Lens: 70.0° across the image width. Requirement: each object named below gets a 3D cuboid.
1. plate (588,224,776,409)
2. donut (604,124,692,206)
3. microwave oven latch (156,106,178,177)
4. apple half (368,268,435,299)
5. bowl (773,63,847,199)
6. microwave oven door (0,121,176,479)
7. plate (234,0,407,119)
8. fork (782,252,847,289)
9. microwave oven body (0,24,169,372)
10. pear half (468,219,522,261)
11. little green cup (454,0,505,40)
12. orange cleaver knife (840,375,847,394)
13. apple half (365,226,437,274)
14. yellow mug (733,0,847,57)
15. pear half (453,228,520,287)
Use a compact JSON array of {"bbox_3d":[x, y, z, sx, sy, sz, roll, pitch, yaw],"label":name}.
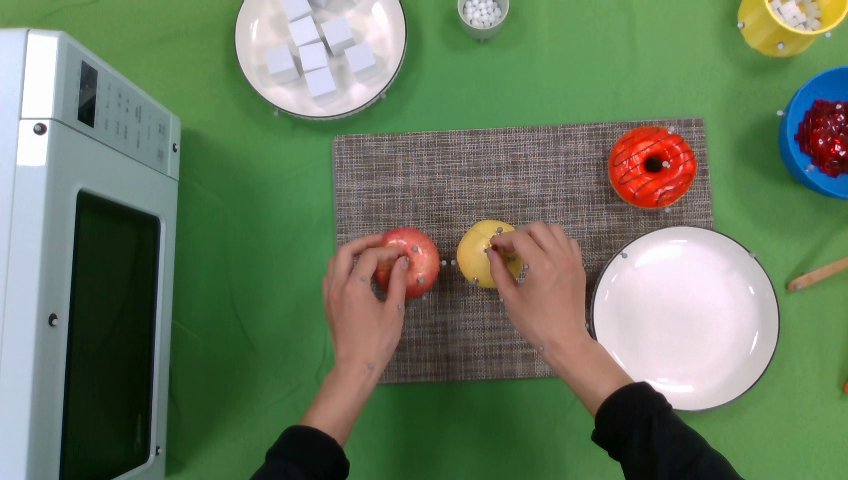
[{"bbox_3d":[0.290,0.086,0.693,0.209,0.038,0.208,0,84,1],"label":"plate"},{"bbox_3d":[0.261,-0.088,0.709,0.099,0.048,0.099,0,85,4],"label":"donut"},{"bbox_3d":[-0.309,-0.115,0.713,0.030,0.029,0.079,2,85,1],"label":"microwave oven latch"},{"bbox_3d":[-0.023,0.051,0.685,0.081,0.081,0.032,-3,81,1],"label":"apple half"},{"bbox_3d":[0.465,-0.115,0.694,0.151,0.077,0.151,0,85,2],"label":"bowl"},{"bbox_3d":[-0.316,0.091,0.590,0.039,0.244,0.355,0,84,2],"label":"microwave oven door"},{"bbox_3d":[-0.124,-0.245,0.741,0.207,0.039,0.207,0,84,1],"label":"plate"},{"bbox_3d":[0.504,0.003,0.676,0.207,0.018,0.028,-32,90,18],"label":"fork"},{"bbox_3d":[-0.461,0.049,0.603,0.326,0.260,0.440,0,85,1],"label":"microwave oven body"},{"bbox_3d":[0.084,-0.005,0.682,0.070,0.088,0.031,26,85,10],"label":"pear half"},{"bbox_3d":[0.067,-0.278,0.740,0.061,0.039,0.061,0,83,2],"label":"little green cup"},{"bbox_3d":[0.533,0.083,0.670,0.012,0.077,0.212,29,115,3],"label":"orange cleaver knife"},{"bbox_3d":[-0.026,0.012,0.688,0.080,0.075,0.053,-4,82,11],"label":"apple half"},{"bbox_3d":[0.422,-0.291,0.718,0.100,0.064,0.130,-35,83,-2],"label":"yellow mug"},{"bbox_3d":[0.066,0.023,0.669,0.076,0.110,0.056,27,85,9],"label":"pear half"}]
